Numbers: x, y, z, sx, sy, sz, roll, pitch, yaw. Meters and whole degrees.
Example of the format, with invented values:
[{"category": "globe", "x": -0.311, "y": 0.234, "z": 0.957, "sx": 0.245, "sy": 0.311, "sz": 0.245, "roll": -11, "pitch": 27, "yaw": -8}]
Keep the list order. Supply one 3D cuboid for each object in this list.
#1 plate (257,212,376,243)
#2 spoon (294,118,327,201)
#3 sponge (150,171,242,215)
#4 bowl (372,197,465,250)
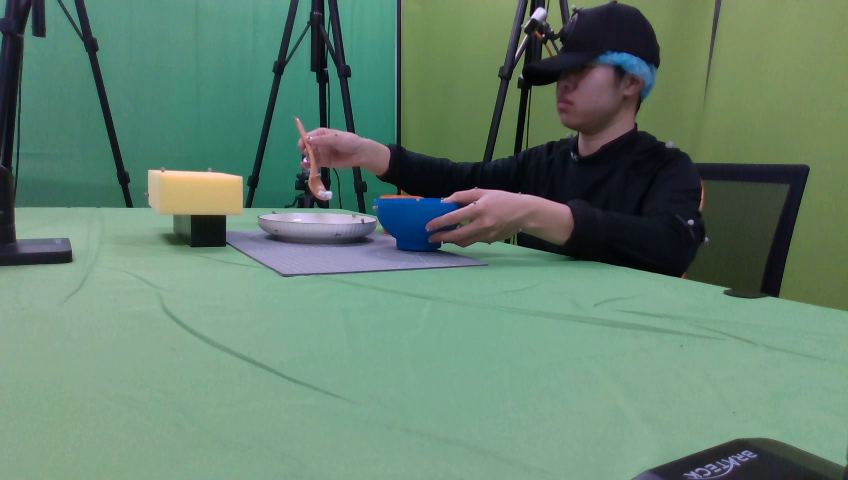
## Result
[{"category": "plate", "x": -0.189, "y": -0.023, "z": 1.072, "sx": 0.209, "sy": 0.038, "sz": 0.209, "roll": 3, "pitch": 7, "yaw": 0}, {"category": "spoon", "x": -0.212, "y": -0.152, "z": 1.119, "sx": 0.021, "sy": 0.193, "sz": 0.042, "roll": -31, "pitch": -27, "yaw": 29}, {"category": "sponge", "x": -0.379, "y": -0.079, "z": 0.994, "sx": 0.119, "sy": 0.061, "sz": 0.206, "roll": -1, "pitch": 8, "yaw": -29}, {"category": "bowl", "x": -0.010, "y": -0.027, "z": 0.980, "sx": 0.151, "sy": 0.077, "sz": 0.151, "roll": 2, "pitch": 7, "yaw": 0}]
